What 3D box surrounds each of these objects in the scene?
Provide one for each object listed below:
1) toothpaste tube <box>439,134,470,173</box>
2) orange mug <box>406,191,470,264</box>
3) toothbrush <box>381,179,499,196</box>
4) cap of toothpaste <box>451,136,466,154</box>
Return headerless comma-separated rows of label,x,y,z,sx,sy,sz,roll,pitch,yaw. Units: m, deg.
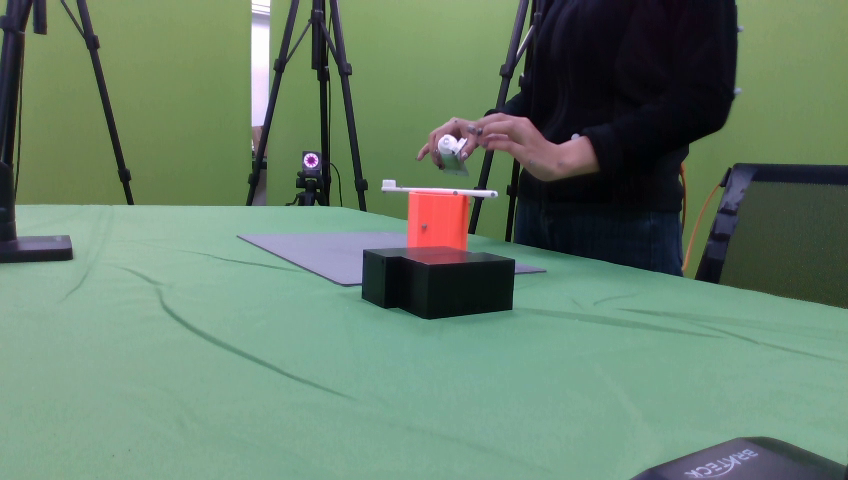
toothpaste tube,0.053,-0.153,1.105,0.055,0.034,0.165,13,-10,11
orange mug,0.027,-0.023,0.866,0.083,0.101,0.126,6,12,24
toothbrush,0.019,-0.073,0.841,0.181,0.016,0.014,6,4,27
cap of toothpaste,0.057,-0.160,1.015,0.011,0.037,0.037,38,4,-6
